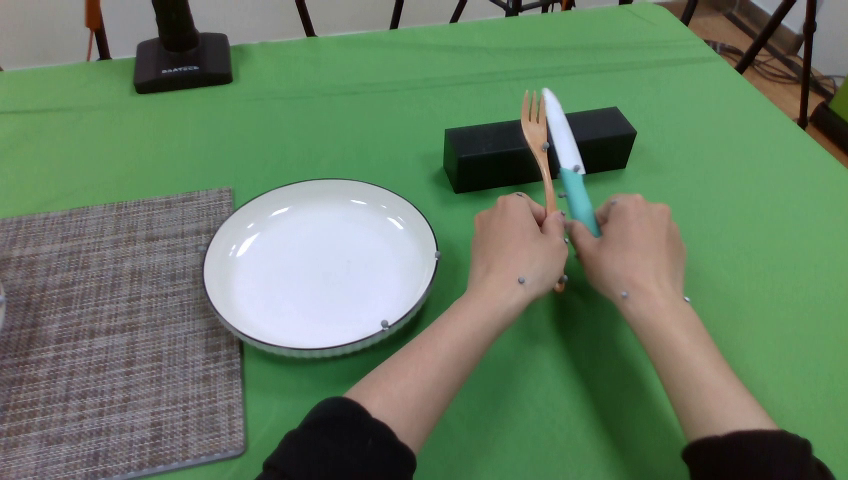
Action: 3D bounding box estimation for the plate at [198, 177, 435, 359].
[{"bbox_3d":[-0.094,0.024,0.551,0.208,0.039,0.205,1,46,-1],"label":"plate"}]

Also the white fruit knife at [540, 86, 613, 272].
[{"bbox_3d":[0.141,-0.064,0.588,0.027,0.016,0.205,-7,68,-10],"label":"white fruit knife"}]

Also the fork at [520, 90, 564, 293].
[{"bbox_3d":[0.110,-0.050,0.551,0.028,0.019,0.205,3,63,-10],"label":"fork"}]

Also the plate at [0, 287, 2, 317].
[{"bbox_3d":[-0.444,0.082,0.474,0.209,0.038,0.207,1,47,-1],"label":"plate"}]
